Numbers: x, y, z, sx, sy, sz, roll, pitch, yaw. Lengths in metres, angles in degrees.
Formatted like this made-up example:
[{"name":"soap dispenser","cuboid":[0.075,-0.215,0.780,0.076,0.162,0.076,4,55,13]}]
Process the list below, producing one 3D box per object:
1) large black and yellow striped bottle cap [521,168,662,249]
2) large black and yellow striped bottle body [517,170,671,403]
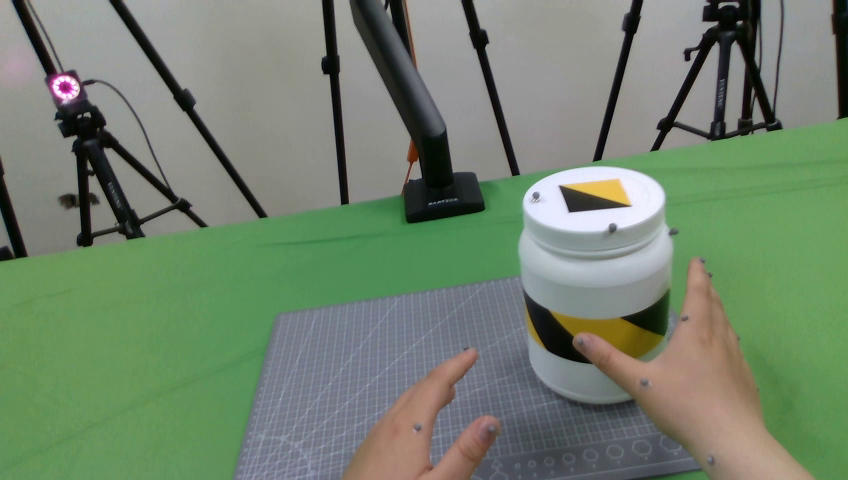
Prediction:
[{"name":"large black and yellow striped bottle cap","cuboid":[0.139,-0.030,0.510,0.115,0.019,0.114,-7,31,4]},{"name":"large black and yellow striped bottle body","cuboid":[0.154,0.041,0.554,0.131,0.185,0.129,-8,32,5]}]
